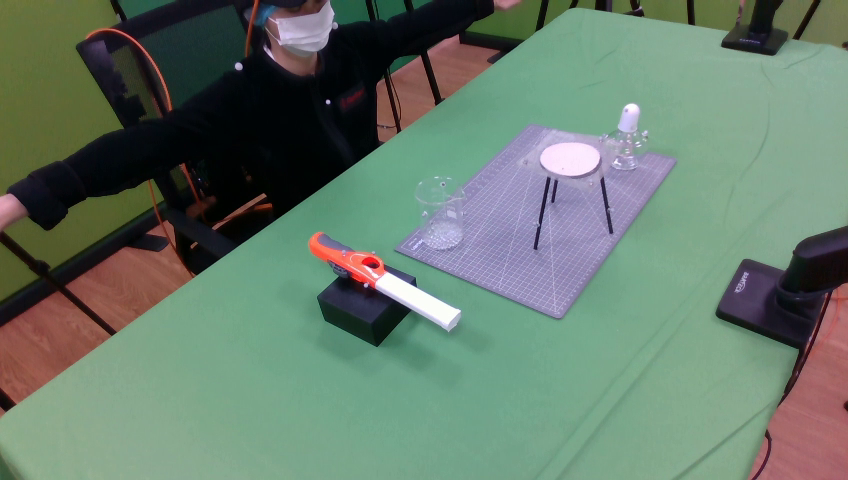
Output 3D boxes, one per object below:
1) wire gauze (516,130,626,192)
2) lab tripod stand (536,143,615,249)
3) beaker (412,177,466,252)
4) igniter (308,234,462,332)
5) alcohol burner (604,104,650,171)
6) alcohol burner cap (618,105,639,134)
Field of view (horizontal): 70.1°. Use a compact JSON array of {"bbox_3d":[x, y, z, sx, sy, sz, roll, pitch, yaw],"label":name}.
[{"bbox_3d":[0.216,-0.124,0.892,0.124,0.011,0.122,22,49,31],"label":"wire gauze"},{"bbox_3d":[0.224,-0.069,0.931,0.148,0.132,0.147,-4,42,4],"label":"lab tripod stand"},{"bbox_3d":[0.029,-0.038,0.952,0.083,0.101,0.074,9,43,18],"label":"beaker"},{"bbox_3d":[-0.066,0.053,0.846,0.274,0.025,0.057,26,49,29],"label":"igniter"},{"bbox_3d":[0.357,-0.182,1.060,0.078,0.119,0.077,-6,39,6],"label":"alcohol burner"},{"bbox_3d":[0.353,-0.208,1.036,0.034,0.048,0.033,-2,46,3],"label":"alcohol burner cap"}]
